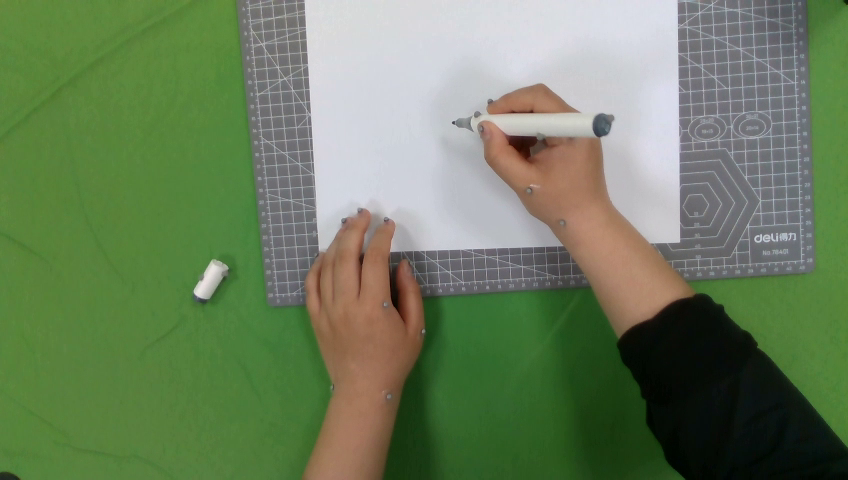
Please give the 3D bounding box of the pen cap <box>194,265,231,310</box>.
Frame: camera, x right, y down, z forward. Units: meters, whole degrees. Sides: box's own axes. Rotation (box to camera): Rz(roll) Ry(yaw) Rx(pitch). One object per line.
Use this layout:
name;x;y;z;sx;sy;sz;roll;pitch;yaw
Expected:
pen cap;-0.182;0.042;0.519;0.017;0.017;0.038;34;96;2

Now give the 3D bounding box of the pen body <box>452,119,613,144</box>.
pen body;0.068;-0.076;0.426;0.017;0.143;0.017;-9;104;-38
